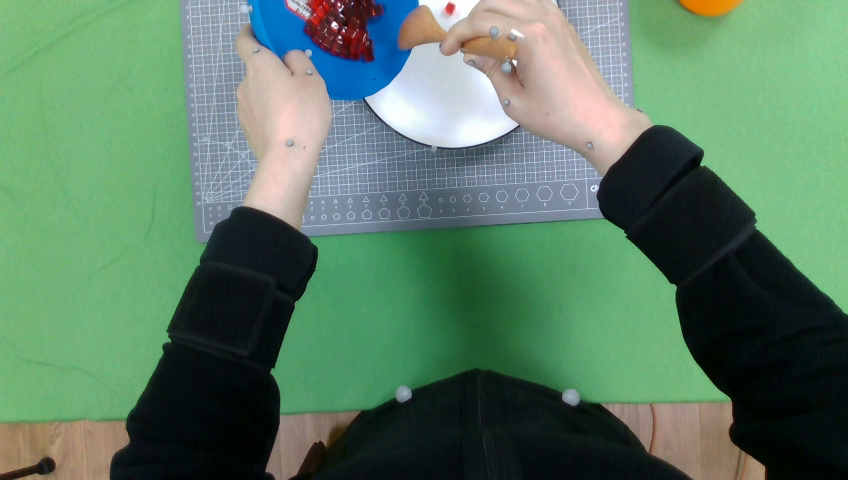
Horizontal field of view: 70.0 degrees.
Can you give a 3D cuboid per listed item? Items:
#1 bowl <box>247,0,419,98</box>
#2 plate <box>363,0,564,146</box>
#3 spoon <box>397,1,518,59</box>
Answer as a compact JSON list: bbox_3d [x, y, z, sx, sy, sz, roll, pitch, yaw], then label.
[{"bbox_3d":[-0.086,-0.198,0.505,0.152,0.076,0.152,-15,114,-37],"label":"bowl"},{"bbox_3d":[0.030,-0.194,0.591,0.209,0.038,0.209,0,91,3],"label":"plate"},{"bbox_3d":[0.020,-0.150,0.442,0.022,0.191,0.041,28,99,-35],"label":"spoon"}]
